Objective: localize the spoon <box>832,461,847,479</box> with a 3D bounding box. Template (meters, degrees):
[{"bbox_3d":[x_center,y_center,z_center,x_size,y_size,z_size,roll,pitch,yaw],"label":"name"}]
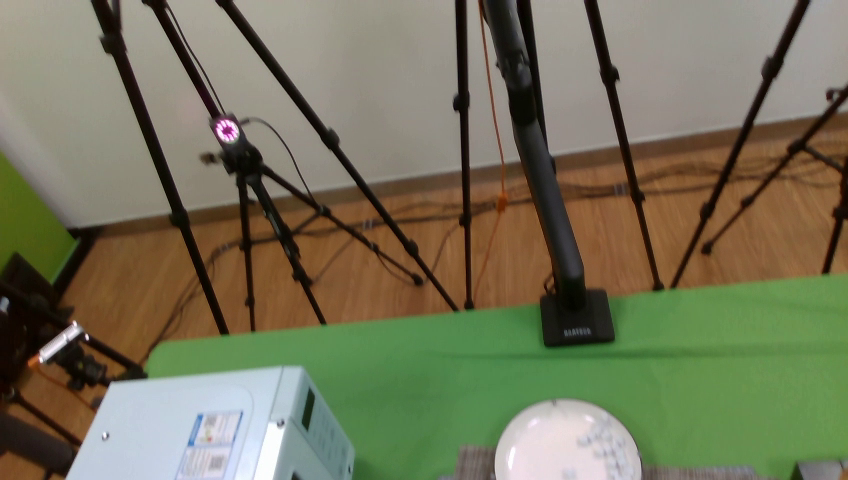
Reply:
[{"bbox_3d":[0.523,0.357,0.701,0.041,0.022,0.192,-10,65,6],"label":"spoon"}]

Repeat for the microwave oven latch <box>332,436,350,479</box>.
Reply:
[{"bbox_3d":[-0.133,0.348,0.944,0.030,0.030,0.078,-7,44,11],"label":"microwave oven latch"}]

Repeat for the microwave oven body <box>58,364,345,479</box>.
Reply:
[{"bbox_3d":[-0.309,0.423,0.781,0.325,0.263,0.437,-7,44,11],"label":"microwave oven body"}]

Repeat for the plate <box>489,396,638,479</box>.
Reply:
[{"bbox_3d":[0.200,0.325,0.877,0.209,0.038,0.207,-9,42,9],"label":"plate"}]

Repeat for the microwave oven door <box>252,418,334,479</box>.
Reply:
[{"bbox_3d":[-0.170,0.429,0.721,0.039,0.246,0.352,-8,43,11],"label":"microwave oven door"}]
